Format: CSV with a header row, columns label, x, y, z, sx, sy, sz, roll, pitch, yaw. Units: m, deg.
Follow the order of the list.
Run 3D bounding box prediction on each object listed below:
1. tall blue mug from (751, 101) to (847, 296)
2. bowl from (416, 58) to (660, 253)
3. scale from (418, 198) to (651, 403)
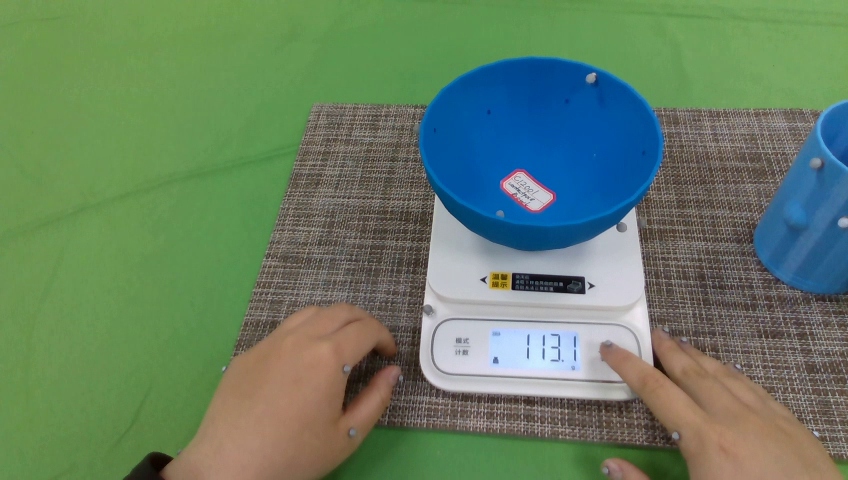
label,x,y,z,sx,sy,sz,roll,pitch,yaw
tall blue mug,0.281,-0.015,0.385,0.106,0.109,0.077,37,64,28
bowl,0.072,-0.043,0.406,0.151,0.077,0.150,-2,54,3
scale,0.076,0.013,0.430,0.148,0.032,0.199,2,54,7
